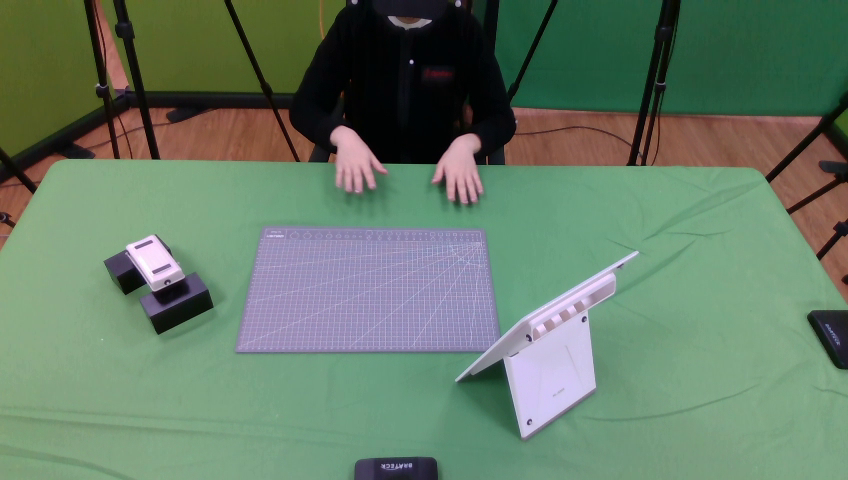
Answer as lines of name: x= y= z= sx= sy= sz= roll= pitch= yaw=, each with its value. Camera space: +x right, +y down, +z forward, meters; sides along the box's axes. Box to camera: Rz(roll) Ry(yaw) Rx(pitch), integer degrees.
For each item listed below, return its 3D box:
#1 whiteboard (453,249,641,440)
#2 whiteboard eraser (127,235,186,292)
whiteboard: x=0.206 y=0.174 z=0.890 sx=0.217 sy=0.306 sz=0.143 roll=-24 pitch=72 yaw=-25
whiteboard eraser: x=-0.460 y=0.041 z=1.042 sx=0.055 sy=0.042 sz=0.112 roll=-31 pitch=55 yaw=-28
